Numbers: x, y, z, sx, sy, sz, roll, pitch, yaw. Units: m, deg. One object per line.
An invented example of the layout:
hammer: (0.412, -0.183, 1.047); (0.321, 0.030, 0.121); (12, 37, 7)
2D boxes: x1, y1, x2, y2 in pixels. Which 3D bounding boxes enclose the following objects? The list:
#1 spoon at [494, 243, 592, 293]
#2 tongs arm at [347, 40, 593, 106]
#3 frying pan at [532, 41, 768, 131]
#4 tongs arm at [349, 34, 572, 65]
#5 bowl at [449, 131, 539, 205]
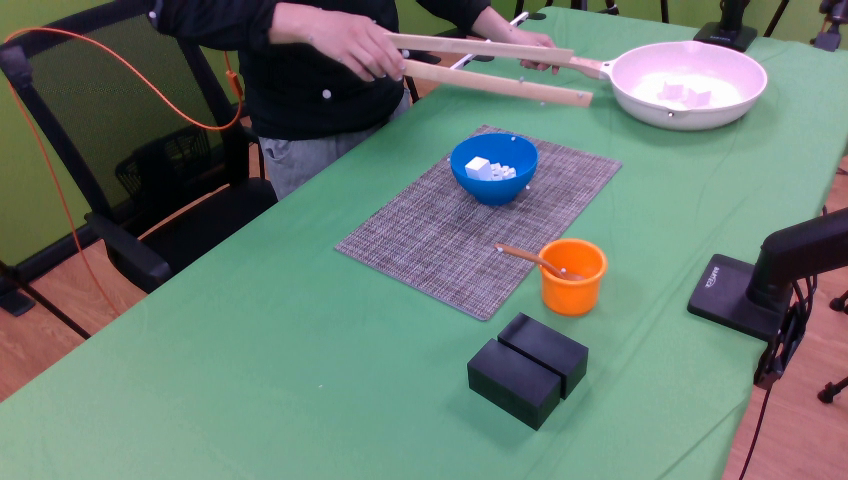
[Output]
spoon: (0.161, 0.034, 0.808); (0.021, 0.195, 0.041); (-48, 40, 20)
tongs arm: (0.072, -0.258, 0.938); (0.386, 0.026, 0.050); (6, 45, -8)
frying pan: (0.424, -0.338, 1.236); (0.486, 0.103, 0.307); (18, 45, 15)
tongs arm: (0.067, -0.309, 0.990); (0.389, 0.028, 0.028); (-1, 50, -16)
bowl: (0.120, -0.114, 1.034); (0.151, 0.077, 0.150); (-4, 41, 4)
